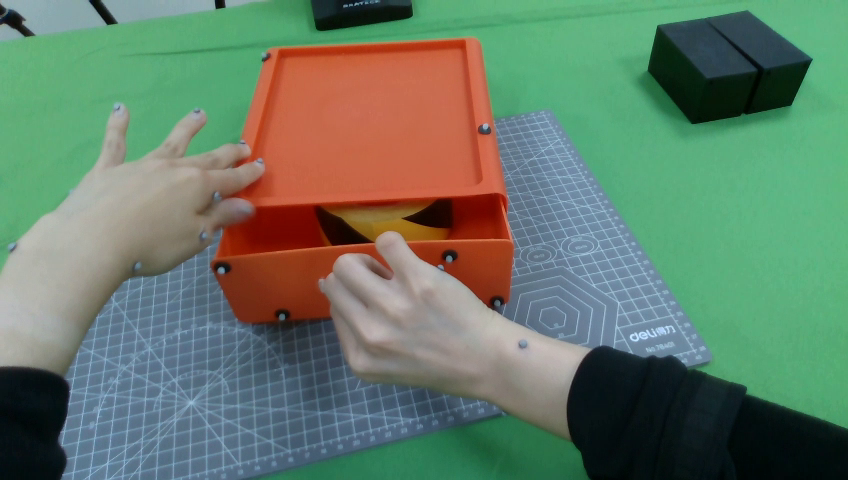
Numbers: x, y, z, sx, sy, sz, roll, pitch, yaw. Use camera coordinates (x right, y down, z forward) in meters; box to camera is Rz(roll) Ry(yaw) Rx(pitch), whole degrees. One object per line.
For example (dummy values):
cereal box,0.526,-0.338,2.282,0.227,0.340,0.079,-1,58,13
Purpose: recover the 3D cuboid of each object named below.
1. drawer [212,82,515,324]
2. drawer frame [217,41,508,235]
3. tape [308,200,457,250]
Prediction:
drawer,-0.041,-0.040,0.475,0.194,0.074,0.209,-4,47,0
drawer frame,-0.044,-0.073,0.504,0.202,0.083,0.211,-4,46,1
tape,-0.033,-0.033,0.477,0.117,0.053,0.115,-2,47,2
